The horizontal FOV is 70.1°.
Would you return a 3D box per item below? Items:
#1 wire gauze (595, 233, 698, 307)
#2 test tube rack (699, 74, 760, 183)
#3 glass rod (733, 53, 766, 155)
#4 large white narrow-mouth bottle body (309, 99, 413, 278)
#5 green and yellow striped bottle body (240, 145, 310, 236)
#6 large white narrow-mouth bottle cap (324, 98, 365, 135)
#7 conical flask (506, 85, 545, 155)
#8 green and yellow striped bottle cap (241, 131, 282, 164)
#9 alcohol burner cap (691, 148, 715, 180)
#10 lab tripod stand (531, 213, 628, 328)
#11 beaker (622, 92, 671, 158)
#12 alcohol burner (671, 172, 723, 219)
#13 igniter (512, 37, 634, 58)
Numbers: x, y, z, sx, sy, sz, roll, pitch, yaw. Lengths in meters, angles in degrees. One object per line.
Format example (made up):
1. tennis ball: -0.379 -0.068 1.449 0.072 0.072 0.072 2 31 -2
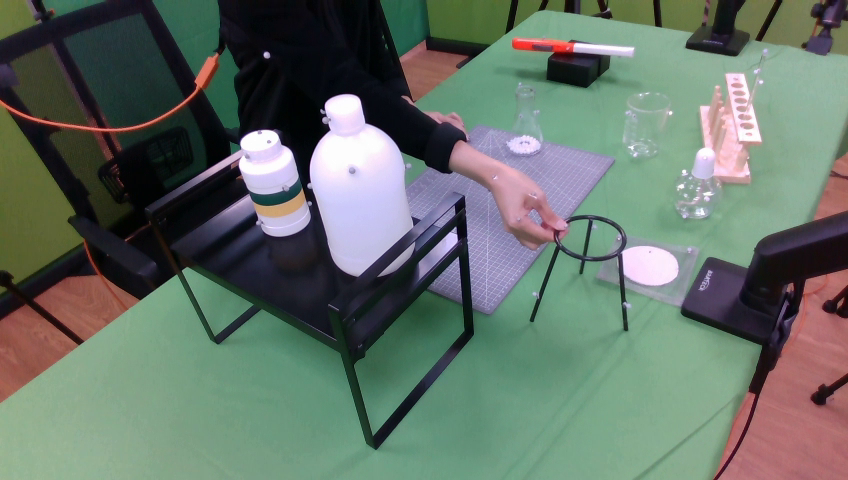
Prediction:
1. wire gauze: 0.331 0.037 0.897 0.124 0.011 0.121 18 47 26
2. test tube rack: 0.547 -0.208 1.095 0.066 0.085 0.242 6 42 15
3. glass rod: 0.540 -0.220 1.007 0.008 0.201 0.008 -5 45 6
4. large white narrow-mouth bottle body: -0.069 -0.057 0.645 0.102 0.195 0.101 -3 42 4
5. green and yellow striped bottle body: -0.181 -0.069 0.729 0.063 0.120 0.063 -4 40 4
6. large white narrow-mouth bottle cap: -0.076 -0.120 0.586 0.038 0.024 0.037 -3 42 3
7. conical flask: 0.190 -0.227 1.134 0.075 0.122 0.075 -4 41 4
8. green and yellow striped bottle cap: -0.187 -0.107 0.695 0.045 0.020 0.045 -3 39 3
9. alcohol burner cap: 0.432 -0.120 0.930 0.034 0.048 0.033 -7 48 8
10. lab tripod stand: 0.213 0.043 0.808 0.148 0.132 0.147 -2 42 3
11. beaker: 0.402 -0.210 1.106 0.074 0.101 0.083 -9 40 -2
12. alcohol burner: 0.434 -0.093 0.955 0.078 0.119 0.077 -3 43 4
13. igniter: 0.328 -0.433 1.360 0.275 0.025 0.057 12 33 20
